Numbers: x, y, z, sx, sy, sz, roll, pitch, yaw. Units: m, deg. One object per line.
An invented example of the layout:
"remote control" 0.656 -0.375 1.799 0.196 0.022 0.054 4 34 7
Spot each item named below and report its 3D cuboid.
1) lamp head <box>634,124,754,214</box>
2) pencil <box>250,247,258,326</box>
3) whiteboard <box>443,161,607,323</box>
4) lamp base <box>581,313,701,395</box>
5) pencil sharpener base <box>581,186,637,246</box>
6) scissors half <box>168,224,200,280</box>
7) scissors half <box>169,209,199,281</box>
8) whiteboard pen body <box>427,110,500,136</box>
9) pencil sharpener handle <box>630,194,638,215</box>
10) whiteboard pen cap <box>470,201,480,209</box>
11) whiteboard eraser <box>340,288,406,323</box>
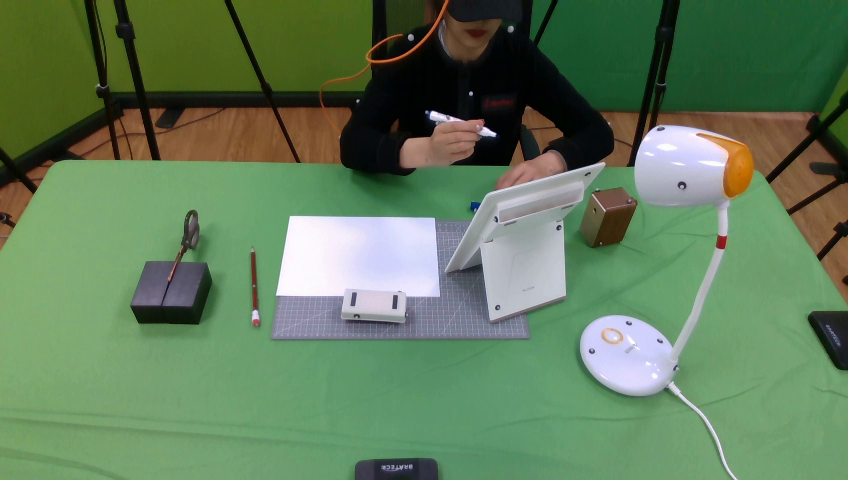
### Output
"lamp head" 0.351 -0.089 0.775 0.112 0.113 0.122 -30 30 -28
"pencil" -0.312 0.079 1.106 0.012 0.012 0.192 -7 46 -11
"whiteboard" 0.185 0.025 1.029 0.217 0.306 0.143 -15 68 -18
"lamp base" 0.361 0.144 0.972 0.178 0.181 0.160 34 53 23
"pencil sharpener base" 0.369 -0.047 1.209 0.077 0.107 0.061 -11 48 -15
"scissors half" -0.440 0.023 1.111 0.013 0.040 0.174 7 29 -6
"scissors half" -0.438 0.007 1.098 0.013 0.040 0.174 3 48 -3
"whiteboard pen body" 0.070 -0.206 1.077 0.140 0.017 0.017 20 48 16
"pencil sharpener handle" 0.417 -0.068 1.215 0.031 0.068 0.036 -11 60 -14
"whiteboard pen cap" 0.113 -0.073 1.279 0.033 0.018 0.018 6 46 4
"whiteboard eraser" -0.088 0.117 1.060 0.113 0.042 0.055 3 45 -1
